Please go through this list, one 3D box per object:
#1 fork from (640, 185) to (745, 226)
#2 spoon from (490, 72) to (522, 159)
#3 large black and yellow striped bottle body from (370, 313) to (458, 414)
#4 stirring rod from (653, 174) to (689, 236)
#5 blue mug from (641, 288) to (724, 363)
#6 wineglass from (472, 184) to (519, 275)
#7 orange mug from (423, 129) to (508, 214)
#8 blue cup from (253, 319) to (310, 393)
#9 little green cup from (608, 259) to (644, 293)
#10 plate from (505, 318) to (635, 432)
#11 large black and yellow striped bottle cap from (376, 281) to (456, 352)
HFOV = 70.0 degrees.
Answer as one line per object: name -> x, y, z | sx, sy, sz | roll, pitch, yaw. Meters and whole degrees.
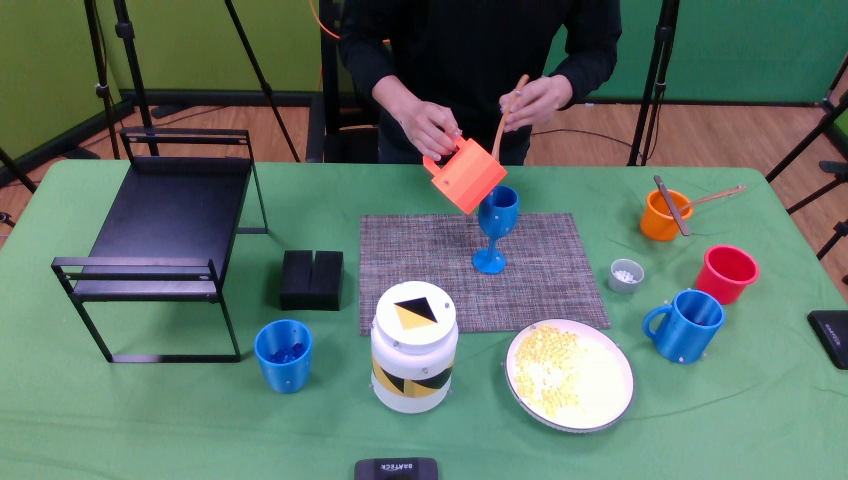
fork -> 0.534, -0.069, 1.215 | 0.207, 0.019, 0.028 | -26, 27, 33
spoon -> 0.120, -0.174, 0.974 | 0.021, 0.194, 0.042 | 23, 15, 29
large black and yellow striped bottle body -> -0.017, 0.165, 0.924 | 0.131, 0.185, 0.130 | 2, 46, -2
stirring rod -> 0.491, -0.072, 1.211 | 0.014, 0.006, 0.175 | 0, 47, -6
blue mug -> 0.432, 0.144, 1.033 | 0.116, 0.106, 0.082 | 9, 46, 4
wineglass -> 0.129, -0.018, 1.113 | 0.074, 0.173, 0.073 | 2, 46, -2
orange mug -> 0.063, -0.119, 0.997 | 0.101, 0.083, 0.126 | -43, 91, 7
blue cup -> -0.217, 0.187, 0.943 | 0.093, 0.101, 0.092 | 4, 45, -3
little green cup -> 0.379, 0.070, 1.147 | 0.061, 0.039, 0.061 | 3, 45, -3
plate -> 0.235, 0.221, 0.991 | 0.209, 0.038, 0.208 | 2, 45, -2
large black and yellow striped bottle cap -> -0.011, 0.107, 0.863 | 0.115, 0.019, 0.114 | 2, 47, -2
